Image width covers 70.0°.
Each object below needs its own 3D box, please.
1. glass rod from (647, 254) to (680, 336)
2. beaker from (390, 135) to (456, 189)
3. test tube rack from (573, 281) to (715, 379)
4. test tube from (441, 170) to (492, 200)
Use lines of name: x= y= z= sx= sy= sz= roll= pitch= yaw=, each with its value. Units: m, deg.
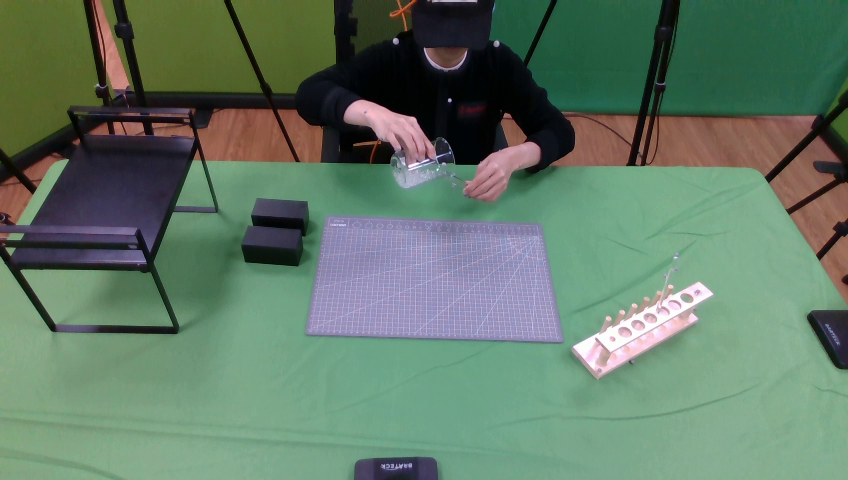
glass rod: x=0.390 y=0.094 z=0.991 sx=0.008 sy=0.201 sz=0.008 roll=-1 pitch=44 yaw=1
beaker: x=-0.004 y=-0.137 z=1.100 sx=0.100 sy=0.084 sz=0.073 roll=-21 pitch=47 yaw=-21
test tube rack: x=0.378 y=0.140 z=1.038 sx=0.242 sy=0.085 sz=0.066 roll=-22 pitch=51 yaw=-22
test tube: x=0.086 y=-0.106 z=1.194 sx=0.151 sy=0.017 sz=0.017 roll=21 pitch=29 yaw=-45
